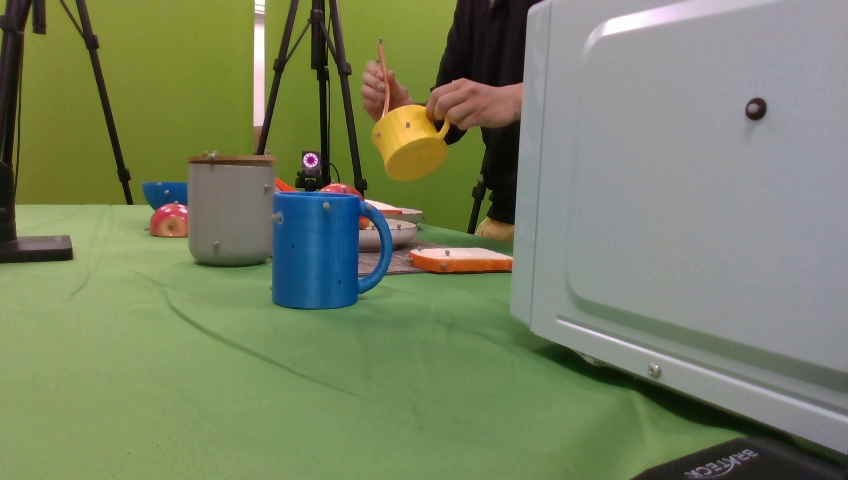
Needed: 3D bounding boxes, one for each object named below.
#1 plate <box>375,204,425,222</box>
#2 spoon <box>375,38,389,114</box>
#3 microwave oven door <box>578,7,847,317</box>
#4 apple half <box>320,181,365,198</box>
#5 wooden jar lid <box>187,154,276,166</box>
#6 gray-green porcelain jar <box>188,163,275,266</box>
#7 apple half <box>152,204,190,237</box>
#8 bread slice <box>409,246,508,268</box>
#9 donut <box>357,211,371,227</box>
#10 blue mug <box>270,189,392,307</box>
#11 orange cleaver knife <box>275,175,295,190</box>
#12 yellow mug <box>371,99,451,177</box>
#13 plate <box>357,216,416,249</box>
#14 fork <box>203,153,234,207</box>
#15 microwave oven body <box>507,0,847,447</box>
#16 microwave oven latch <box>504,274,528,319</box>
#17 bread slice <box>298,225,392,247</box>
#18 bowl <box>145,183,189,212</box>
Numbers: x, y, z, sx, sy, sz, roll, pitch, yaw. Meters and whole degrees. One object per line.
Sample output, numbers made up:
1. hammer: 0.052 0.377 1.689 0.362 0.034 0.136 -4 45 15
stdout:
1. plate: -0.102 -0.053 1.299 0.209 0.038 0.209 2 8 0
2. spoon: -0.062 -0.225 0.937 0.022 0.193 0.041 -2 -14 -6
3. microwave oven door: 0.294 -0.067 0.570 0.358 0.243 0.039 -3 9 -31
4. apple half: -0.130 -0.077 0.952 0.081 0.033 0.081 3 13 0
5. wooden jar lid: -0.244 -0.097 0.771 0.108 0.020 0.108 -1 7 0
6. gray-green porcelain jar: -0.246 -0.034 0.779 0.106 0.126 0.106 1 7 0
7. apple half: -0.415 -0.034 1.017 0.081 0.053 0.074 1 10 -9
8. bread slice: 0.048 0.022 0.816 0.132 0.019 0.104 0 6 -24
9. donut: -0.132 -0.041 0.959 0.099 0.048 0.099 3 8 0
10. blue mug: -0.090 0.005 0.588 0.117 0.106 0.082 1 7 -11
11. orange cleaver knife: -0.283 -0.087 1.343 0.212 0.077 0.012 24 -16 -41
12. yellow mug: -0.011 -0.160 0.904 0.130 0.064 0.100 -37 -28 27
13. plate: -0.116 -0.014 0.967 0.208 0.039 0.207 2 7 0
14. fork: -0.480 -0.134 1.411 0.028 0.018 0.207 1 -35 0
15. microwave oven body: 0.331 -0.042 0.425 0.444 0.260 0.324 -2 8 -31
16. microwave oven latch: 0.100 0.041 0.471 0.079 0.029 0.030 -1 7 -28
17. bread slice: -0.119 -0.008 0.969 0.106 0.018 0.135 5 11 41
18. bowl: -0.459 -0.069 1.175 0.151 0.077 0.151 2 7 0
